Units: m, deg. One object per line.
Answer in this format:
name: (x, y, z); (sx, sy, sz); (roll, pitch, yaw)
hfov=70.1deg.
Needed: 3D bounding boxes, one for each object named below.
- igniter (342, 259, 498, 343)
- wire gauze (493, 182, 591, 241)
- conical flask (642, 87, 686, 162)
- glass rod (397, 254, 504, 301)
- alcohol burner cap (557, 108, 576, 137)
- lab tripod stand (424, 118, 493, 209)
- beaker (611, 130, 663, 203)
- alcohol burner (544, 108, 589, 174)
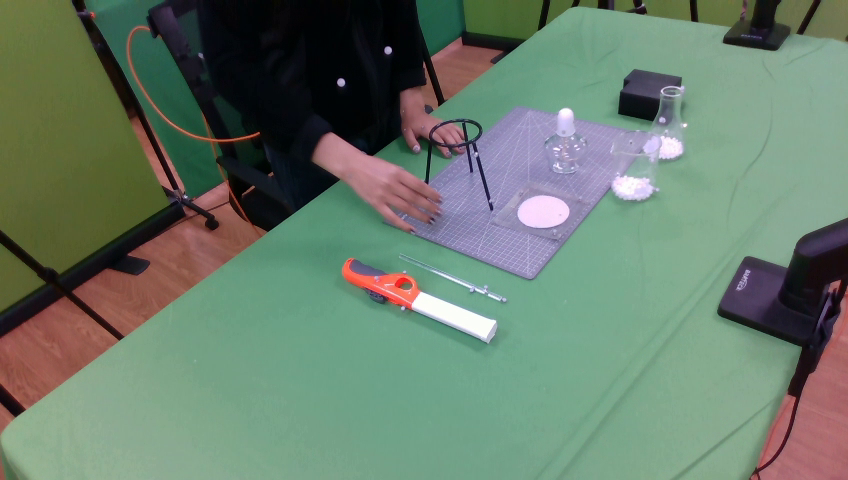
igniter: (-0.017, 0.084, 0.883); (0.274, 0.025, 0.057); (20, 59, 31)
wire gauze: (0.198, -0.048, 1.011); (0.120, 0.011, 0.125); (20, 50, 31)
conical flask: (0.429, -0.206, 1.067); (0.075, 0.122, 0.075); (-6, 40, 6)
glass rod: (0.036, 0.054, 0.922); (0.198, 0.008, 0.008); (21, 49, 31)
alcohol burner cap: (0.246, -0.205, 1.047); (0.034, 0.048, 0.033); (-8, 44, 8)
lab tripod stand: (0.061, -0.133, 1.039); (0.148, 0.132, 0.147); (-6, 38, 6)
beaker: (0.346, -0.118, 0.998); (0.084, 0.101, 0.073); (-17, 40, -7)
alcohol burner: (0.252, -0.178, 1.071); (0.078, 0.120, 0.077); (-7, 40, 6)
